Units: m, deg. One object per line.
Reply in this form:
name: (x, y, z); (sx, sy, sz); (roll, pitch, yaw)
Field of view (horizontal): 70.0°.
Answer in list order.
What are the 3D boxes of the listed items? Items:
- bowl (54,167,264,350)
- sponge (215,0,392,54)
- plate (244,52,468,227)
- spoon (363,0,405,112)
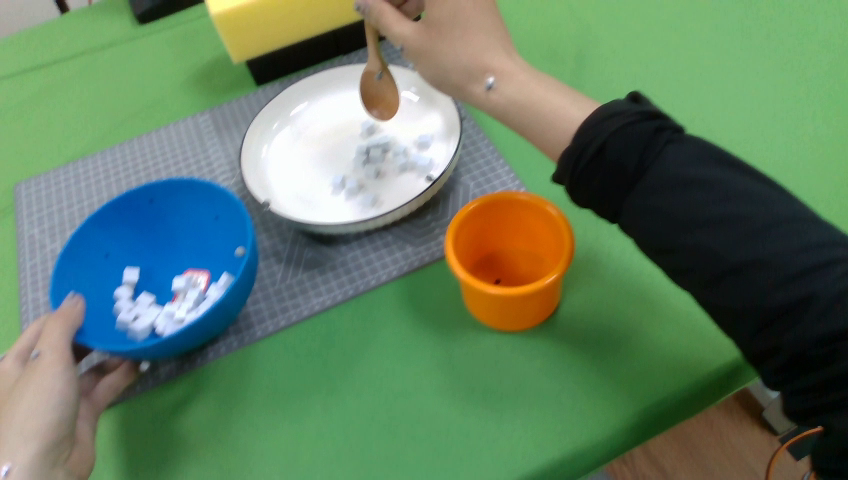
bowl: (-0.187, 0.025, 0.467); (0.151, 0.077, 0.150); (-4, 56, 7)
sponge: (-0.118, -0.285, 0.635); (0.207, 0.061, 0.117); (-23, 56, -7)
plate: (-0.062, -0.094, 0.567); (0.209, 0.038, 0.207); (-4, 56, 6)
spoon: (-0.033, -0.166, 0.467); (0.041, 0.195, 0.021); (27, 68, 10)
